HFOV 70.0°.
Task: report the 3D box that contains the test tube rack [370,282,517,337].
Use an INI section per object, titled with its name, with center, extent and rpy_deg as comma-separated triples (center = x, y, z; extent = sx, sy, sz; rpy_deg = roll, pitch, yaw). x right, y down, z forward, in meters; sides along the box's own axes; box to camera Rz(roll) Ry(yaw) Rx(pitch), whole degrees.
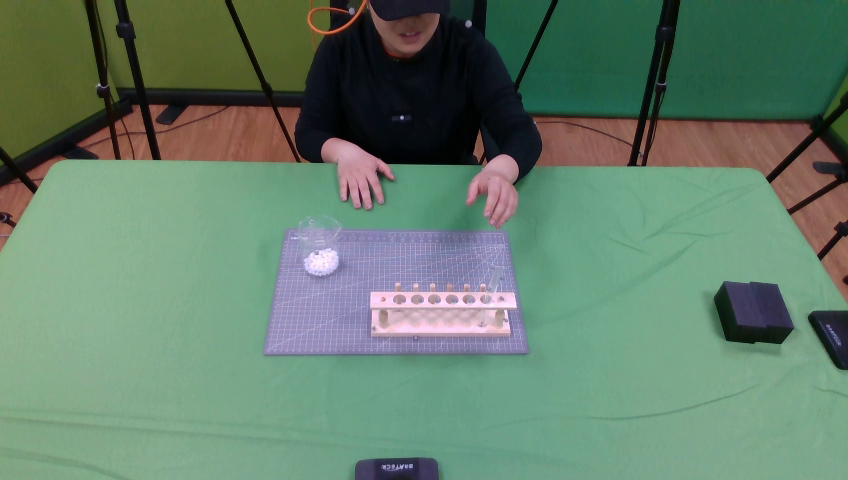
[test tube rack]
center = 0.030, 0.116, 1.041
extent = 0.242, 0.085, 0.066
rpy_deg = 1, 46, -4

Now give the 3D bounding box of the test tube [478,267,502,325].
[test tube]
center = 0.107, 0.096, 0.998
extent = 0.017, 0.151, 0.017
rpy_deg = 4, 48, -4

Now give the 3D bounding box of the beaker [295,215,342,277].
[beaker]
center = -0.191, 0.013, 1.114
extent = 0.084, 0.101, 0.073
rpy_deg = -12, 49, -17
